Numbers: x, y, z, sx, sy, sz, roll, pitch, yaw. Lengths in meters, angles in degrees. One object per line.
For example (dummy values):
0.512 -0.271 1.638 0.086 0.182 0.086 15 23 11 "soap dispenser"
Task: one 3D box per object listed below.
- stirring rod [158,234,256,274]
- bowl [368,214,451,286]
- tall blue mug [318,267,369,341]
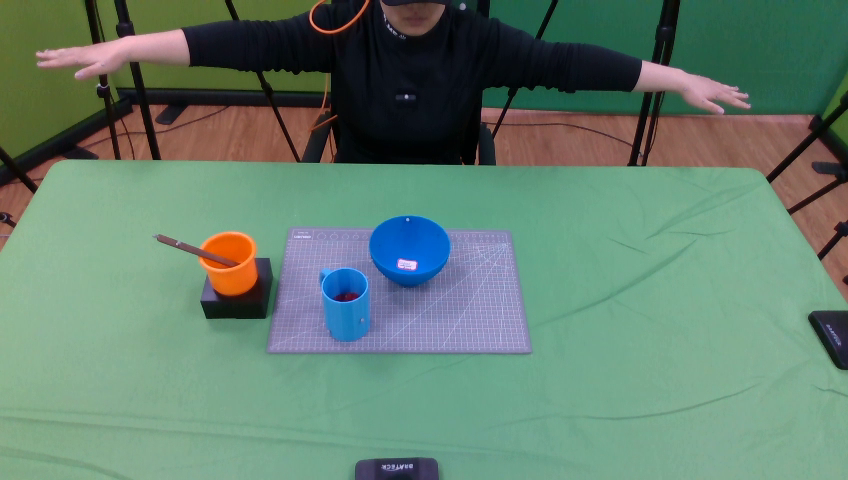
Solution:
-0.354 0.024 0.999 0.177 0.006 0.014 27 29 -40 "stirring rod"
-0.028 0.031 1.122 0.151 0.077 0.150 2 46 -2 "bowl"
-0.146 0.104 1.022 0.107 0.108 0.077 19 49 14 "tall blue mug"
